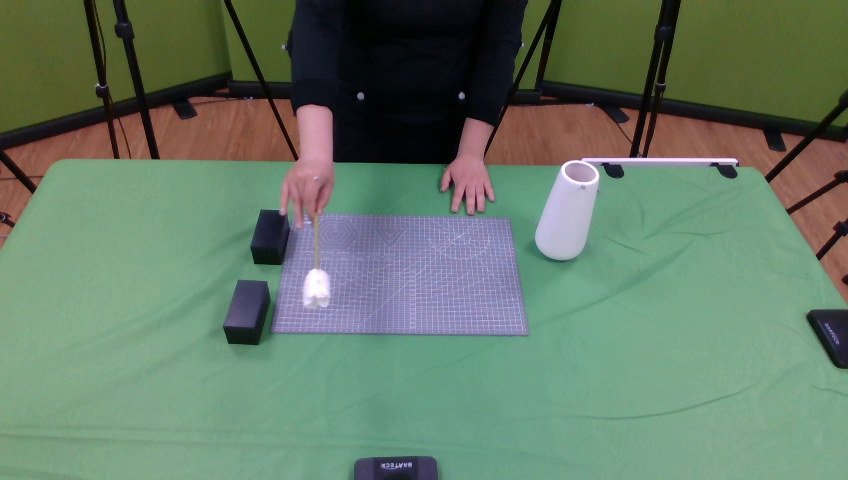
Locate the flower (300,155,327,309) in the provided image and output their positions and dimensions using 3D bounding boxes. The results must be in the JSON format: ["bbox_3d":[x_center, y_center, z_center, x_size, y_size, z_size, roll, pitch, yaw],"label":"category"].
[{"bbox_3d":[-0.182,-0.032,0.995,0.044,0.038,0.359,-36,40,23],"label":"flower"}]

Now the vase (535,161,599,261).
[{"bbox_3d":[0.271,-0.051,1.145,0.098,0.201,0.097,1,46,-1],"label":"vase"}]
